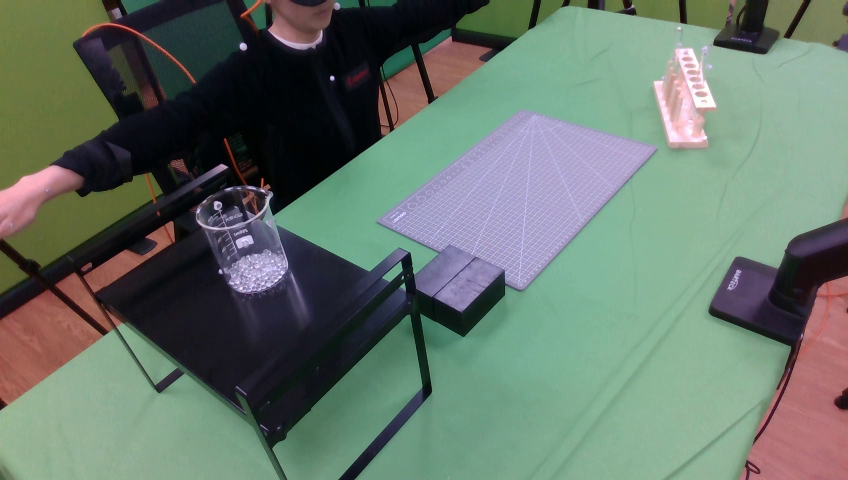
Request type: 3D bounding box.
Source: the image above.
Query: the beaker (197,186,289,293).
[{"bbox_3d":[-0.192,0.001,0.666,0.084,0.101,0.073,-33,47,-27],"label":"beaker"}]

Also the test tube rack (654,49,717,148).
[{"bbox_3d":[0.502,-0.281,1.176,0.066,0.085,0.241,1,41,11],"label":"test tube rack"}]

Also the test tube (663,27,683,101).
[{"bbox_3d":[0.486,-0.342,1.181,0.017,0.151,0.017,-4,42,4],"label":"test tube"}]

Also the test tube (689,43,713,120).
[{"bbox_3d":[0.506,-0.286,1.106,0.017,0.151,0.017,-4,43,4],"label":"test tube"}]
